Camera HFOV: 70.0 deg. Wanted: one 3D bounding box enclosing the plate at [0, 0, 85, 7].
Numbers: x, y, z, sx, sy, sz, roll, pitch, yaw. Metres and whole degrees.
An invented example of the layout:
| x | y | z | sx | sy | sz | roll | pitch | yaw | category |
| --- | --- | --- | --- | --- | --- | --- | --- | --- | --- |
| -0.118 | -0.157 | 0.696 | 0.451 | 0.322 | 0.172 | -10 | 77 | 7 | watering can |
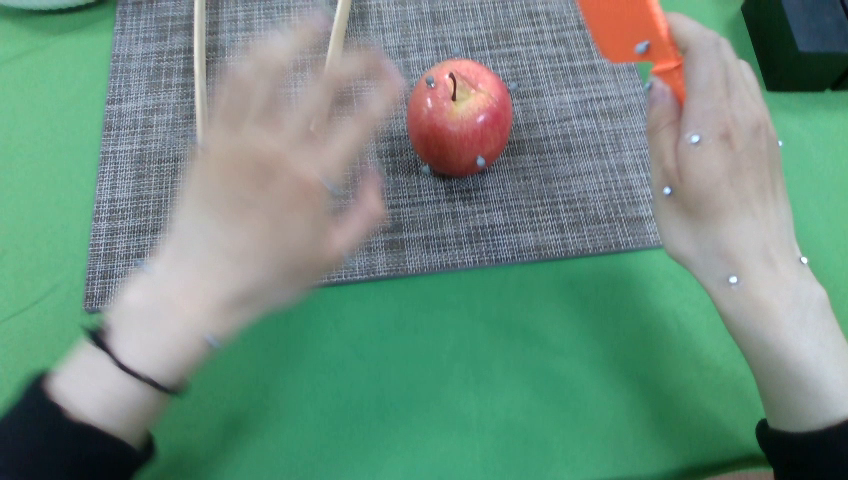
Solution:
| x | y | z | sx | sy | sz | roll | pitch | yaw | category |
| --- | --- | --- | --- | --- | --- | --- | --- | --- | --- |
| -0.334 | -0.292 | 0.566 | 0.209 | 0.038 | 0.207 | 1 | 65 | -1 | plate |

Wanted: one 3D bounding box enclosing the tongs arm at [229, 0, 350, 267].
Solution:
| x | y | z | sx | sy | sz | roll | pitch | yaw | category |
| --- | --- | --- | --- | --- | --- | --- | --- | --- | --- |
| -0.096 | -0.157 | 0.509 | 0.051 | 0.027 | 0.382 | 5 | 66 | 0 | tongs arm |

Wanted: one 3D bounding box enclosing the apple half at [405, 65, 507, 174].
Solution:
| x | y | z | sx | sy | sz | roll | pitch | yaw | category |
| --- | --- | --- | --- | --- | --- | --- | --- | --- | --- |
| 0.016 | -0.082 | 0.453 | 0.080 | 0.075 | 0.053 | 41 | 74 | 13 | apple half |

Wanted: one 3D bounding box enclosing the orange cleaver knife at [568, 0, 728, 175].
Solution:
| x | y | z | sx | sy | sz | roll | pitch | yaw | category |
| --- | --- | --- | --- | --- | --- | --- | --- | --- | --- |
| 0.115 | -0.128 | 0.351 | 0.012 | 0.076 | 0.213 | -39 | 110 | -12 | orange cleaver knife |

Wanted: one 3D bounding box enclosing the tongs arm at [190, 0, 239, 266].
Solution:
| x | y | z | sx | sy | sz | roll | pitch | yaw | category |
| --- | --- | --- | --- | --- | --- | --- | --- | --- | --- |
| -0.181 | -0.156 | 0.508 | 0.028 | 0.028 | 0.384 | -7 | 66 | -9 | tongs arm |

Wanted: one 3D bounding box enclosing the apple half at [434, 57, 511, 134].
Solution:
| x | y | z | sx | sy | sz | roll | pitch | yaw | category |
| --- | --- | --- | --- | --- | --- | --- | --- | --- | --- |
| 0.042 | -0.109 | 0.465 | 0.081 | 0.082 | 0.033 | 39 | 74 | 16 | apple half |
